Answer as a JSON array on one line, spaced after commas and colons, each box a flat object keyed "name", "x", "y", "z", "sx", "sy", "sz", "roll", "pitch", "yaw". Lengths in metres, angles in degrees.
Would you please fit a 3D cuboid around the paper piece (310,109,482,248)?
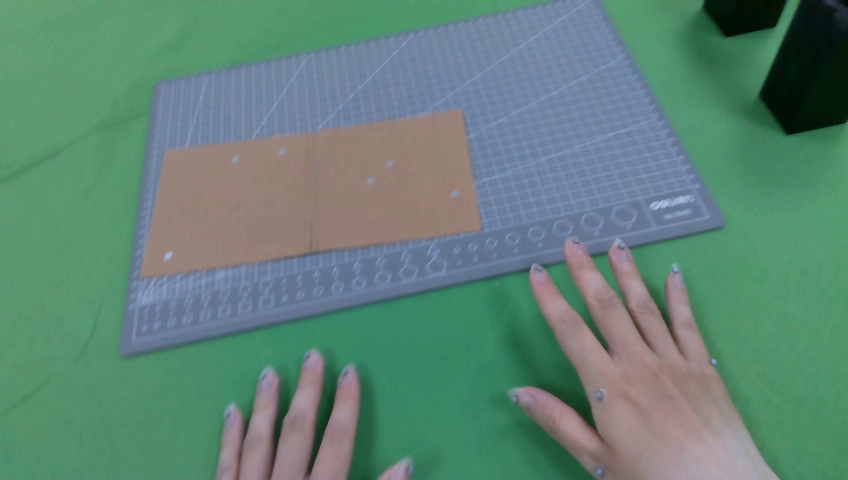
[{"name": "paper piece", "x": -0.027, "y": -0.055, "z": 0.503, "sx": 0.136, "sy": 0.004, "sz": 0.134, "roll": -7, "pitch": 54, "yaw": 1}]

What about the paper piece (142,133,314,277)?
[{"name": "paper piece", "x": -0.159, "y": -0.035, "z": 0.507, "sx": 0.138, "sy": 0.009, "sz": 0.134, "roll": -8, "pitch": 51, "yaw": 3}]

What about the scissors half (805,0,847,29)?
[{"name": "scissors half", "x": 0.285, "y": -0.210, "z": 0.448, "sx": 0.040, "sy": 0.013, "sz": 0.173, "roll": -6, "pitch": 53, "yaw": 5}]
